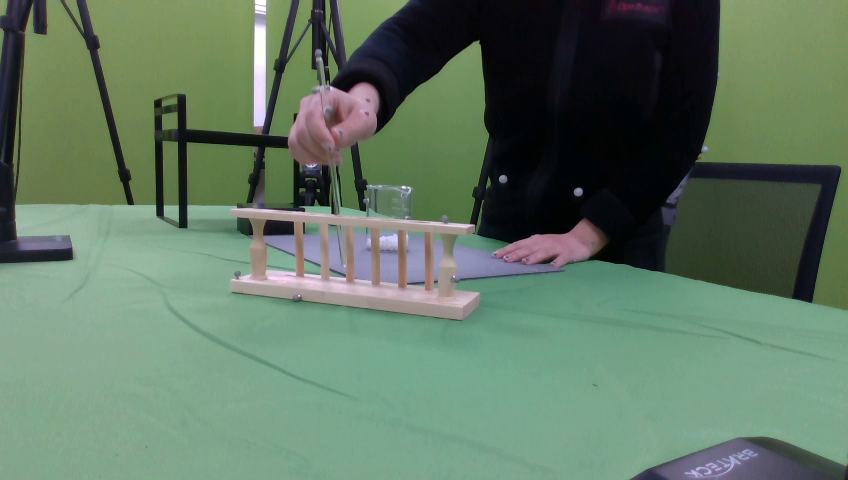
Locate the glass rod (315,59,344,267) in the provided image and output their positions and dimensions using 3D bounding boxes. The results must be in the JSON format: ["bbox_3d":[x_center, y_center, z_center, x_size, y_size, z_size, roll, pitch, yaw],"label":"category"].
[{"bbox_3d":[-0.091,-0.072,0.581,0.008,0.199,0.008,-5,6,1],"label":"glass rod"}]

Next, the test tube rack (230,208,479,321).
[{"bbox_3d":[-0.069,0.018,0.598,0.242,0.085,0.067,5,7,18],"label":"test tube rack"}]

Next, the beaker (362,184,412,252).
[{"bbox_3d":[-0.056,-0.034,0.935,0.083,0.100,0.074,10,11,44],"label":"beaker"}]
